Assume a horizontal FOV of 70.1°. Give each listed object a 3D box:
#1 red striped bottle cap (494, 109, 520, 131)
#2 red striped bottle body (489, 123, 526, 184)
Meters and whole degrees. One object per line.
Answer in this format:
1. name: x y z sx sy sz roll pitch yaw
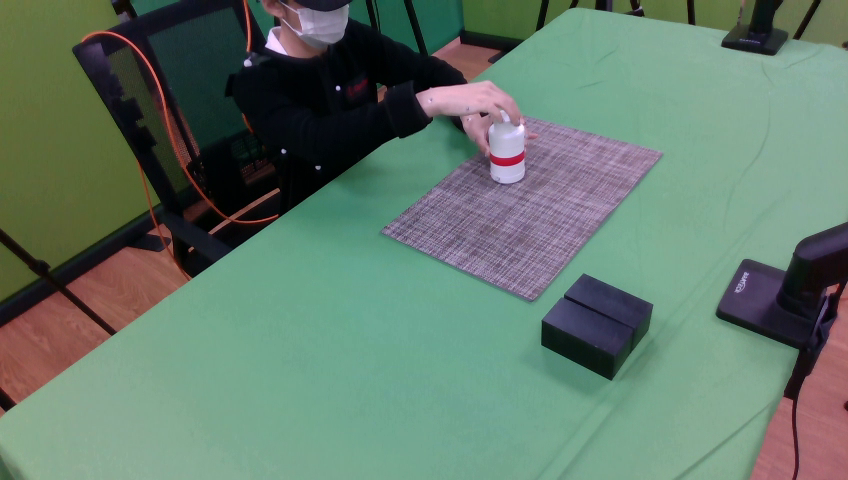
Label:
1. red striped bottle cap: 0.141 -0.205 1.030 0.044 0.018 0.044 -5 41 5
2. red striped bottle body: 0.147 -0.164 1.064 0.063 0.120 0.062 -5 39 4
